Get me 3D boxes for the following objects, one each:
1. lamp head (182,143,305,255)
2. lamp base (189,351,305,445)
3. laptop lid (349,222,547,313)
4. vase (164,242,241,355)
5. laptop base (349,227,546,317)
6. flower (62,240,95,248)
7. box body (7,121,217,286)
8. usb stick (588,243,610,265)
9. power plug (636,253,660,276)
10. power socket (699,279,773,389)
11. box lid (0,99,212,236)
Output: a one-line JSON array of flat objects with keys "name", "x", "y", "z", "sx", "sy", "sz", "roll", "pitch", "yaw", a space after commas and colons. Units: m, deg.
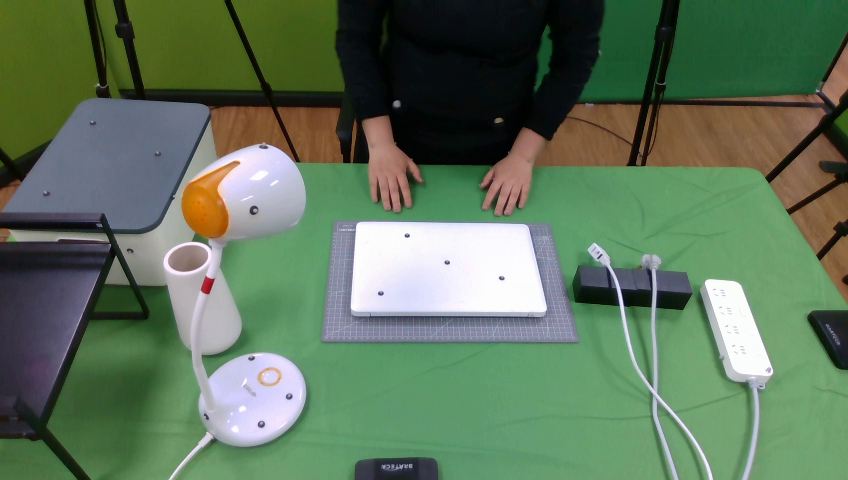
[{"name": "lamp head", "x": -0.216, "y": -0.044, "z": 0.697, "sx": 0.112, "sy": 0.113, "sz": 0.123, "roll": 23, "pitch": 31, "yaw": 17}, {"name": "lamp base", "x": -0.268, "y": 0.196, "z": 0.876, "sx": 0.160, "sy": 0.181, "sz": 0.179, "roll": 26, "pitch": 52, "yaw": 20}, {"name": "laptop lid", "x": 0.041, "y": 0.045, "z": 1.143, "sx": 0.357, "sy": 0.013, "sz": 0.240, "roll": 2, "pitch": 44, "yaw": -3}, {"name": "vase", "x": -0.349, "y": 0.096, "z": 0.954, "sx": 0.098, "sy": 0.201, "sz": 0.097, "roll": 3, "pitch": 47, "yaw": -3}, {"name": "laptop base", "x": 0.040, "y": 0.055, "z": 1.149, "sx": 0.355, "sy": 0.023, "sz": 0.234, "roll": 1, "pitch": 43, "yaw": -4}, {"name": "flower", "x": -0.557, "y": -0.053, "z": 1.195, "sx": 0.044, "sy": 0.038, "sz": 0.361, "roll": 47, "pitch": 54, "yaw": 1}, {"name": "box body", "x": -0.560, "y": -0.092, "z": 1.145, "sx": 0.254, "sy": 0.161, "sz": 0.361, "roll": 3, "pitch": 46, "yaw": -2}, {"name": "usb stick", "x": 0.336, "y": 0.024, "z": 1.172, "sx": 0.027, "sy": 0.021, "sz": 0.059, "roll": 33, "pitch": 16, "yaw": -13}, {"name": "power plug", "x": 0.415, "y": 0.050, "z": 1.139, "sx": 0.035, "sy": 0.053, "sz": 0.072, "roll": 46, "pitch": 48, "yaw": 10}, {"name": "power socket", "x": 0.551, "y": 0.157, "z": 1.081, "sx": 0.072, "sy": 0.033, "sz": 0.225, "roll": 5, "pitch": 46, "yaw": 1}, {"name": "box lid", "x": -0.556, "y": -0.143, "z": 1.090, "sx": 0.263, "sy": 0.015, "sz": 0.369, "roll": 2, "pitch": 46, "yaw": -1}]
